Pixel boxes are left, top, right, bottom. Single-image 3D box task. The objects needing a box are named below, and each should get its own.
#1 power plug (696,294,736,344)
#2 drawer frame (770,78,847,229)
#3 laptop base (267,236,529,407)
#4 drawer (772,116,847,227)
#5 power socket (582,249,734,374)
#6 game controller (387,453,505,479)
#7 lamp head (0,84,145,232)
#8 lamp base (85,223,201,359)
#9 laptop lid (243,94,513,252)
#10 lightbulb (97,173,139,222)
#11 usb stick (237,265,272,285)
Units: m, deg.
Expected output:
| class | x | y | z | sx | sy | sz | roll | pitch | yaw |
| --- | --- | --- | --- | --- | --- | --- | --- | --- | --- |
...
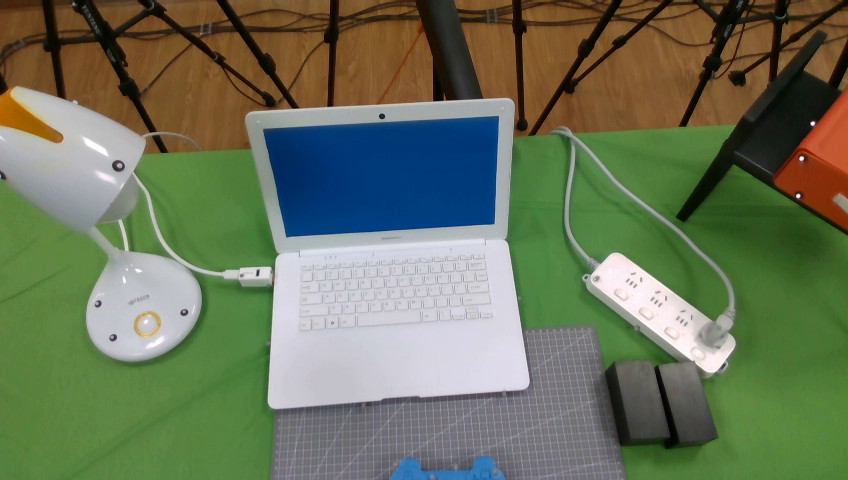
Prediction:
| class | x | y | z | sx | sy | sz | roll | pitch | yaw |
| --- | --- | --- | --- | --- | --- | --- | --- | --- | --- |
| power plug | 0.406 | 0.114 | 0.830 | 0.072 | 0.053 | 0.035 | -32 | 65 | -18 |
| drawer frame | 0.577 | -0.104 | 0.741 | 0.200 | 0.083 | 0.213 | 38 | 68 | 19 |
| laptop base | -0.041 | 0.110 | 0.867 | 0.354 | 0.023 | 0.233 | -4 | 64 | -2 |
| drawer | 0.575 | -0.100 | 0.741 | 0.193 | 0.074 | 0.211 | 39 | 68 | 19 |
| power socket | 0.332 | 0.099 | 0.864 | 0.225 | 0.033 | 0.072 | 40 | 69 | 20 |
| game controller | 0.027 | 0.311 | 0.738 | 0.155 | 0.052 | 0.096 | -1 | 56 | -1 |
| lamp head | -0.341 | -0.082 | 0.554 | 0.124 | 0.112 | 0.111 | 34 | 58 | -30 |
| lamp base | -0.410 | 0.047 | 0.806 | 0.160 | 0.182 | 0.177 | -32 | 63 | -16 |
| laptop lid | -0.054 | -0.086 | 0.852 | 0.357 | 0.244 | 0.013 | -5 | 37 | -2 |
| lightbulb | -0.319 | -0.062 | 0.564 | 0.059 | 0.109 | 0.059 | -26 | 39 | 23 |
| usb stick | -0.240 | 0.051 | 0.885 | 0.059 | 0.027 | 0.021 | 1 | 56 | -3 |
